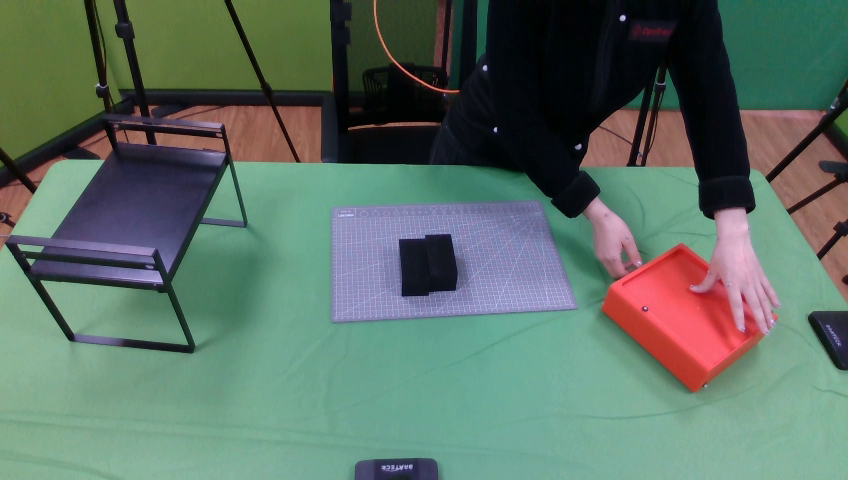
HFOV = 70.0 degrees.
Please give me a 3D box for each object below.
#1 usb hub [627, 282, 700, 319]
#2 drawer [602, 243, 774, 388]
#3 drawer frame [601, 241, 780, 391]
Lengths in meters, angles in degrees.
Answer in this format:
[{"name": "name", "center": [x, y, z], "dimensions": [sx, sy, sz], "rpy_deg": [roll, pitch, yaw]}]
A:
[{"name": "usb hub", "center": [0.435, 0.110, 1.101], "dimensions": [0.125, 0.025, 0.049], "rpy_deg": [-9, 46, -19]}, {"name": "drawer", "center": [0.459, 0.126, 1.067], "dimensions": [0.194, 0.073, 0.210], "rpy_deg": [-25, 53, -26]}, {"name": "drawer frame", "center": [0.462, 0.125, 1.065], "dimensions": [0.202, 0.083, 0.212], "rpy_deg": [-26, 54, -26]}]
